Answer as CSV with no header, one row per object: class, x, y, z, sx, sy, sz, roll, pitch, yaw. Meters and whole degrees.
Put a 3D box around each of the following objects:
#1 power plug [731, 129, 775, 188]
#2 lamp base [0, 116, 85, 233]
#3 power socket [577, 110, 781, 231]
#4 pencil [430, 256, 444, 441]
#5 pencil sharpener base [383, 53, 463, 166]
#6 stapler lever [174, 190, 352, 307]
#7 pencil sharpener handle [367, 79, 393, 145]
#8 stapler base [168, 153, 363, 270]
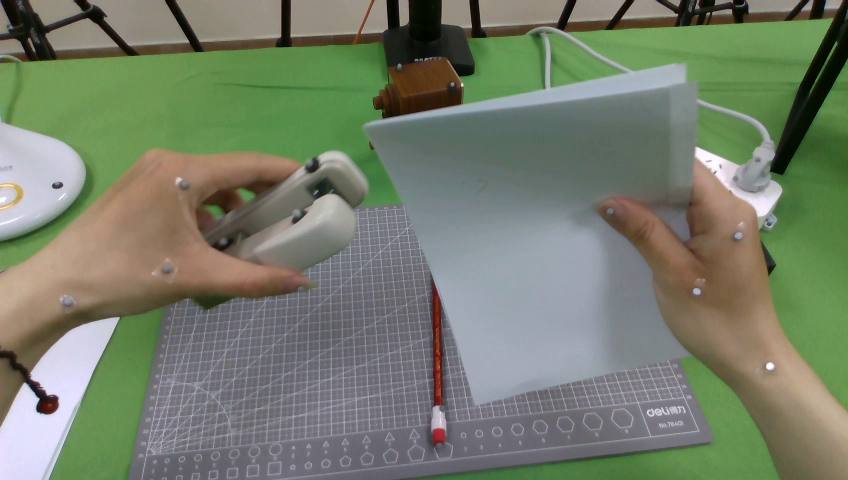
power plug,0.358,-0.078,0.646,0.072,0.053,0.035,-31,55,-25
lamp base,-0.458,-0.123,0.600,0.161,0.182,0.177,-30,52,-25
power socket,0.283,-0.083,0.680,0.225,0.033,0.072,33,54,26
pencil,0.010,0.085,0.534,0.012,0.012,0.192,0,46,0
pencil sharpener base,-0.003,-0.144,0.679,0.077,0.108,0.060,-13,50,-12
stapler lever,-0.096,0.009,0.359,0.118,0.027,0.039,-30,34,11
pencil sharpener handle,-0.050,-0.137,0.654,0.031,0.068,0.035,-13,27,-12
stapler base,-0.098,-0.006,0.378,0.130,0.042,0.024,-29,34,11
